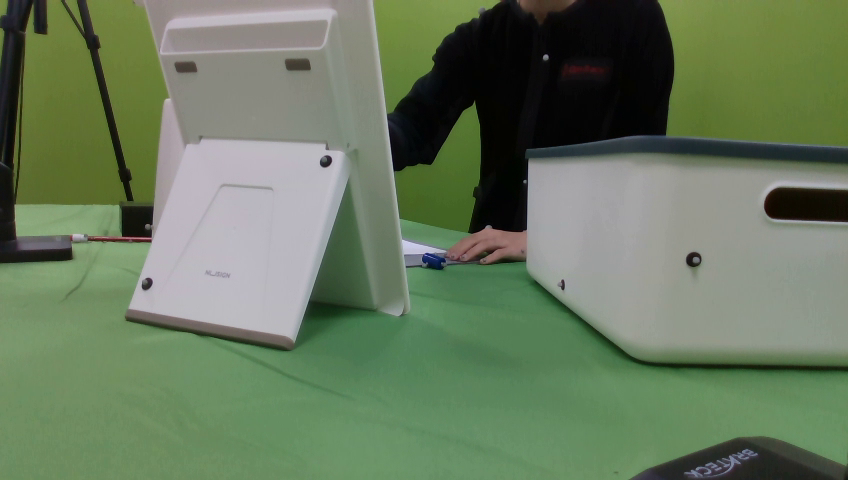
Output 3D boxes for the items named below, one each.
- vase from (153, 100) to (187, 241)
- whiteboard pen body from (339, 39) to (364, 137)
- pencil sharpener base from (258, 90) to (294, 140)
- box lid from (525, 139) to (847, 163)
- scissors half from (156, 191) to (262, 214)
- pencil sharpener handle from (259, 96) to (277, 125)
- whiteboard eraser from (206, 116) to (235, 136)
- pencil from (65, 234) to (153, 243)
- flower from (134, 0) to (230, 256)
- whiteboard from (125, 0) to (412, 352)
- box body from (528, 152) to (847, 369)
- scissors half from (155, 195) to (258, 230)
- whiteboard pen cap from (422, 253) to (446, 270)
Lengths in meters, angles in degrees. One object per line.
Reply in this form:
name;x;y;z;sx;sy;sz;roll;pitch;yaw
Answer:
vase;-0.278;-0.066;0.736;0.098;0.200;0.098;2;9;0
whiteboard pen body;-0.084;-0.175;0.690;0.017;0.140;0.017;3;-27;2
pencil sharpener base;-0.341;-0.285;1.388;0.062;0.107;0.076;-3;9;-36
box lid;0.261;-0.078;0.580;0.264;0.015;0.371;2;7;-4
scissors half;-0.371;-0.068;1.051;0.176;0.040;0.013;2;25;-24
pencil sharpener handle;-0.373;-0.304;1.425;0.036;0.067;0.030;13;-1;-37
whiteboard eraser;-0.449;-0.251;1.335;0.056;0.042;0.112;1;7;-22
pencil;-0.429;0.000;0.910;0.195;0.012;0.012;2;7;-19
flower;-0.282;-0.146;0.713;0.038;0.362;0.044;-23;23;-31
whiteboard;-0.151;-0.049;0.471;0.216;0.305;0.144;6;27;24
box body;0.258;-0.005;0.591;0.254;0.160;0.363;2;7;-4
scissors half;-0.378;-0.051;1.058;0.176;0.040;0.012;20;22;-31
whiteboard pen cap;0.013;0.028;0.806;0.018;0.018;0.033;-4;14;-42
